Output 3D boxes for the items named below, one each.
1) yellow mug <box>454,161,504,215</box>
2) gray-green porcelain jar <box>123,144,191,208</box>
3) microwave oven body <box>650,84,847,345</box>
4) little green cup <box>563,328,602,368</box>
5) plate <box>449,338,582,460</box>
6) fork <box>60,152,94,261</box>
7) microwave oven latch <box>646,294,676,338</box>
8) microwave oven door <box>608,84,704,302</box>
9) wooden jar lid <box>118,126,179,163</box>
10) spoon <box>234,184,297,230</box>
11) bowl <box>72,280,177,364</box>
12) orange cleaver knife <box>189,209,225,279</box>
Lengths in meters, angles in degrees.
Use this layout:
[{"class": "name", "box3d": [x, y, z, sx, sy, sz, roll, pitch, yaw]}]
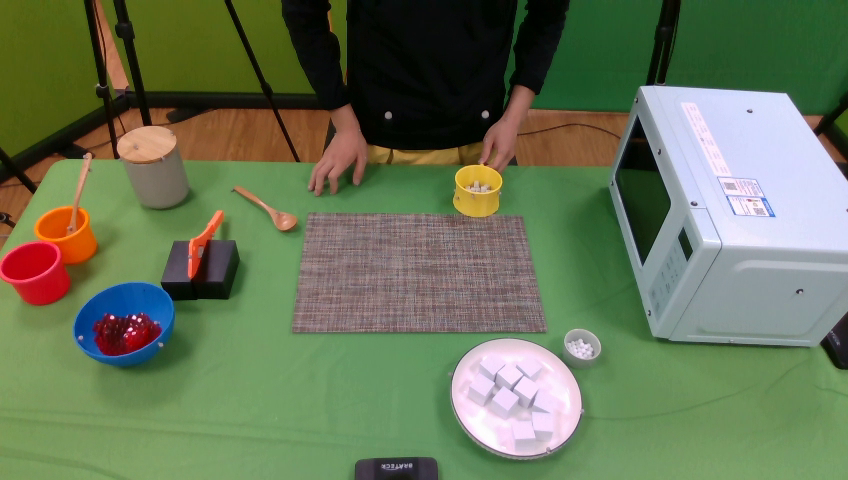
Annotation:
[{"class": "yellow mug", "box3d": [0.118, -0.118, 1.283, 0.100, 0.064, 0.130, 8, 43, 6]}, {"class": "gray-green porcelain jar", "box3d": [-0.531, -0.137, 1.213, 0.106, 0.127, 0.105, 2, 46, -2]}, {"class": "microwave oven body", "box3d": [0.569, -0.054, 1.116, 0.326, 0.261, 0.439, 2, 46, -1]}, {"class": "little green cup", "box3d": [0.265, 0.184, 1.025, 0.061, 0.039, 0.061, 1, 46, -1]}, {"class": "plate", "box3d": [0.141, 0.251, 0.956, 0.208, 0.039, 0.206, 2, 46, -2]}, {"class": "fork", "box3d": [-0.638, -0.063, 1.119, 0.028, 0.018, 0.207, 12, 90, 8]}, {"class": "microwave oven latch", "box3d": [0.412, 0.133, 1.060, 0.030, 0.029, 0.078, 3, 46, 0]}, {"class": "microwave oven door", "box3d": [0.424, -0.096, 1.138, 0.039, 0.245, 0.353, 3, 46, -1]}, {"class": "wooden jar lid", "box3d": [-0.528, -0.181, 1.167, 0.108, 0.021, 0.107, 3, 47, -4]}, {"class": "spoon", "box3d": [-0.327, -0.073, 1.239, 0.193, 0.022, 0.041, 34, 70, 25]}, {"class": "bowl", "box3d": [-0.472, 0.147, 0.982, 0.151, 0.077, 0.150, 2, 46, -2]}, {"class": "orange cleaver knife", "box3d": [-0.400, 0.002, 1.122, 0.012, 0.077, 0.210, 4, 23, -4]}]
